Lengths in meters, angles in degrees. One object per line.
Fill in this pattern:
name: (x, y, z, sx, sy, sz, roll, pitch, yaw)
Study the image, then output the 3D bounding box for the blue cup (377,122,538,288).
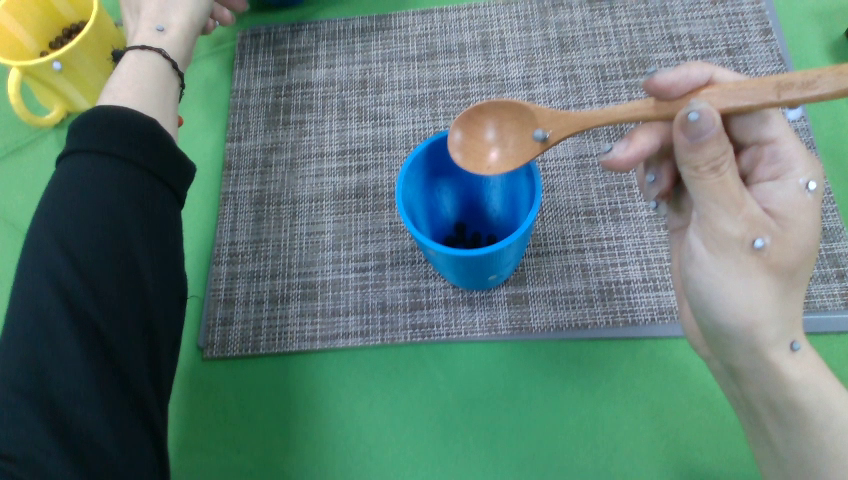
blue cup: (0.029, -0.013, 0.390, 0.092, 0.101, 0.092, -3, 66, 7)

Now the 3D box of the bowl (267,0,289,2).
bowl: (-0.135, -0.267, 0.532, 0.151, 0.077, 0.150, 0, 71, 1)

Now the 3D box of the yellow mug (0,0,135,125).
yellow mug: (-0.317, -0.159, 0.515, 0.100, 0.064, 0.130, 7, 69, 9)

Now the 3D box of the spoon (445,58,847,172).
spoon: (0.089, -0.058, 0.276, 0.192, 0.022, 0.041, 0, 90, 43)
